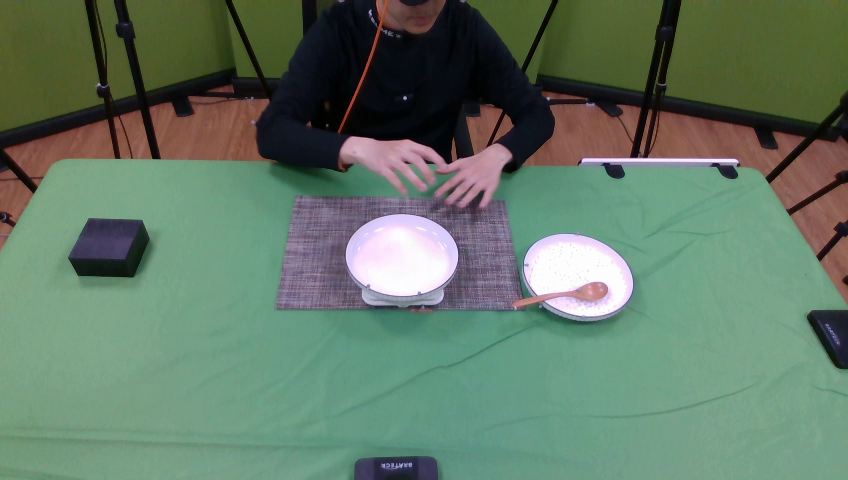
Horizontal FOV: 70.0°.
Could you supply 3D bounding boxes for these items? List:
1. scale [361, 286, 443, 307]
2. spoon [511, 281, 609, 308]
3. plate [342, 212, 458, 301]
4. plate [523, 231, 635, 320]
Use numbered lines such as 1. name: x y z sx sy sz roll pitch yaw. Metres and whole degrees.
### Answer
1. scale: -0.042 0.040 1.143 0.149 0.032 0.199 0 46 -4
2. spoon: 0.245 0.098 1.088 0.194 0.022 0.041 -5 47 -19
3. plate: -0.043 0.033 1.105 0.208 0.039 0.206 2 46 -2
4. plate: 0.287 0.069 1.141 0.209 0.038 0.208 2 46 -2
